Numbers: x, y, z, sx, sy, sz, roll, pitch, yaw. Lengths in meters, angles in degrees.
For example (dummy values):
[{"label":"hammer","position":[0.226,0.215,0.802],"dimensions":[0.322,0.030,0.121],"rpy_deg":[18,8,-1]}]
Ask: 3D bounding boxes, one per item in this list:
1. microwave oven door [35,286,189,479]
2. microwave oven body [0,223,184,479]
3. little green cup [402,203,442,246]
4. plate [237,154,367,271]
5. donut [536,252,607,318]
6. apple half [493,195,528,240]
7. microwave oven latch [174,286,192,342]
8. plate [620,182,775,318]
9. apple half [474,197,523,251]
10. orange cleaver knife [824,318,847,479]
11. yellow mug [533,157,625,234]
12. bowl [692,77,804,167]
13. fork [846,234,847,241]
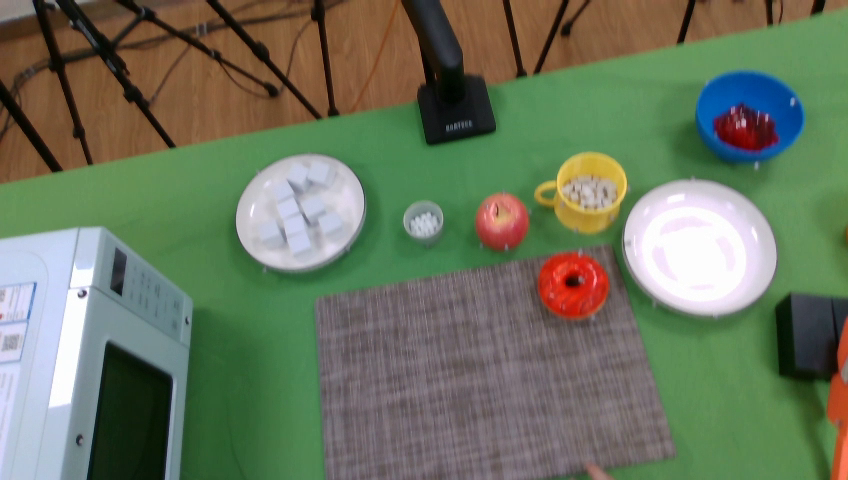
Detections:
[{"label":"microwave oven door","position":[-0.354,0.259,0.700],"dimensions":[0.039,0.246,0.352],"rpy_deg":[-8,63,3]},{"label":"microwave oven body","position":[-0.502,0.243,0.731],"dimensions":[0.326,0.262,0.438],"rpy_deg":[-7,64,3]},{"label":"little green cup","position":[0.000,-0.021,0.931],"dimensions":[0.061,0.039,0.061],"rpy_deg":[-3,63,6]},{"label":"plate","position":[-0.191,-0.041,0.963],"dimensions":[0.207,0.039,0.206],"rpy_deg":[-3,64,6]},{"label":"donut","position":[0.207,0.063,0.858],"dimensions":[0.099,0.048,0.098],"rpy_deg":[-3,65,7]},{"label":"apple half","position":[0.134,-0.038,0.903],"dimensions":[0.033,0.082,0.080],"rpy_deg":[-36,65,-6]},{"label":"microwave oven latch","position":[-0.360,0.110,0.888],"dimensions":[0.030,0.030,0.078],"rpy_deg":[-6,64,4]},{"label":"plate","position":[0.386,0.015,0.868],"dimensions":[0.209,0.038,0.207],"rpy_deg":[-3,64,6]},{"label":"apple half","position":[0.102,-0.016,0.897],"dimensions":[0.053,0.075,0.080],"rpy_deg":[-36,69,-6]},{"label":"orange cleaver knife","position":[0.504,0.202,0.734],"dimensions":[0.012,0.077,0.211],"rpy_deg":[7,97,12]},{"label":"yellow mug","position":[0.230,-0.066,0.910],"dimensions":[0.131,0.064,0.099],"rpy_deg":[-1,64,7]},{"label":"bowl","position":[0.479,-0.165,0.923],"dimensions":[0.151,0.077,0.150],"rpy_deg":[-3,64,6]},{"label":"fork","position":[0.673,-0.031,0.793],"dimensions":[0.207,0.019,0.028],"rpy_deg":[-27,50,44]}]
